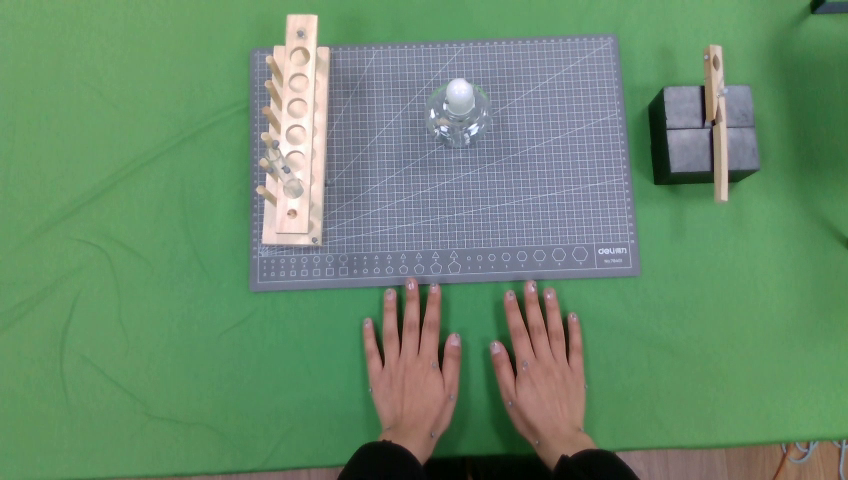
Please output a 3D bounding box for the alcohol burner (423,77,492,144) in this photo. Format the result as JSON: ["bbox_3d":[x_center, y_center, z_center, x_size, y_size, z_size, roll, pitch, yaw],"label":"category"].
[{"bbox_3d":[0.037,-0.151,0.671,0.078,0.119,0.077,0,82,1],"label":"alcohol burner"}]

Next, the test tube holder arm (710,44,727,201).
[{"bbox_3d":[0.325,-0.131,0.672,0.013,0.015,0.178,1,81,-7],"label":"test tube holder arm"}]

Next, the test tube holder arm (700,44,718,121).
[{"bbox_3d":[0.319,-0.176,0.678,0.010,0.015,0.087,1,81,-6],"label":"test tube holder arm"}]

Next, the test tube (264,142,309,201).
[{"bbox_3d":[-0.138,-0.064,0.620,0.017,0.151,0.017,0,75,0],"label":"test tube"}]

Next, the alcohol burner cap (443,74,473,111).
[{"bbox_3d":[0.036,-0.157,0.636,0.034,0.048,0.034,0,86,2],"label":"alcohol burner cap"}]

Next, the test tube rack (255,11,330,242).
[{"bbox_3d":[-0.151,-0.124,0.680,0.067,0.085,0.241,1,81,0],"label":"test tube rack"}]
